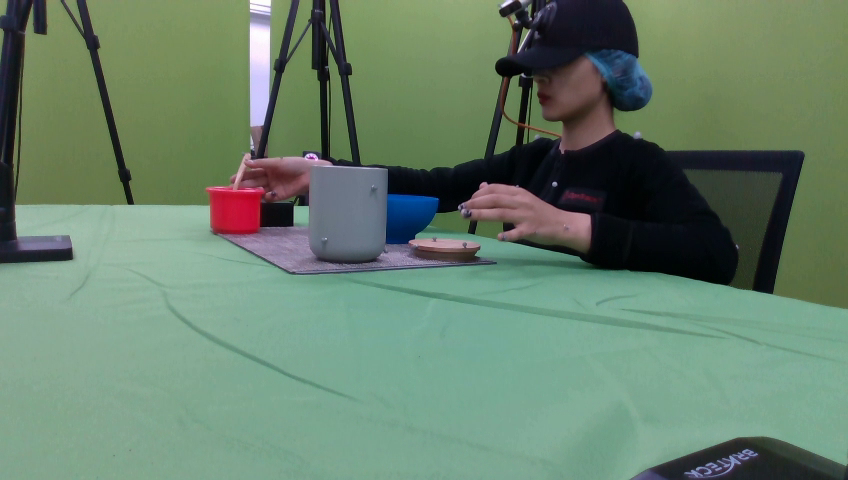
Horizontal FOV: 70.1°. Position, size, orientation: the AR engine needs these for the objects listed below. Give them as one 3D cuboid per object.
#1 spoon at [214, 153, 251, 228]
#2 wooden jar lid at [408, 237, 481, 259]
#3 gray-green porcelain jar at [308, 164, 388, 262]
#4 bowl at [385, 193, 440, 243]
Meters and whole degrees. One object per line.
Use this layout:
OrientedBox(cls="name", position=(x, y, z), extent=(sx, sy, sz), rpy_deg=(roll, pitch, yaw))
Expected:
OrientedBox(cls="spoon", position=(-0.337, -0.093, 1.093), extent=(0.041, 0.193, 0.021), rpy_deg=(0, -37, 5))
OrientedBox(cls="wooden jar lid", position=(0.031, 0.012, 0.895), extent=(0.108, 0.020, 0.108), rpy_deg=(2, 8, 0))
OrientedBox(cls="gray-green porcelain jar", position=(-0.103, -0.038, 0.818), extent=(0.106, 0.126, 0.106), rpy_deg=(2, 7, 0))
OrientedBox(cls="bowl", position=(-0.050, -0.038, 1.033), extent=(0.151, 0.077, 0.151), rpy_deg=(3, 7, 0))
